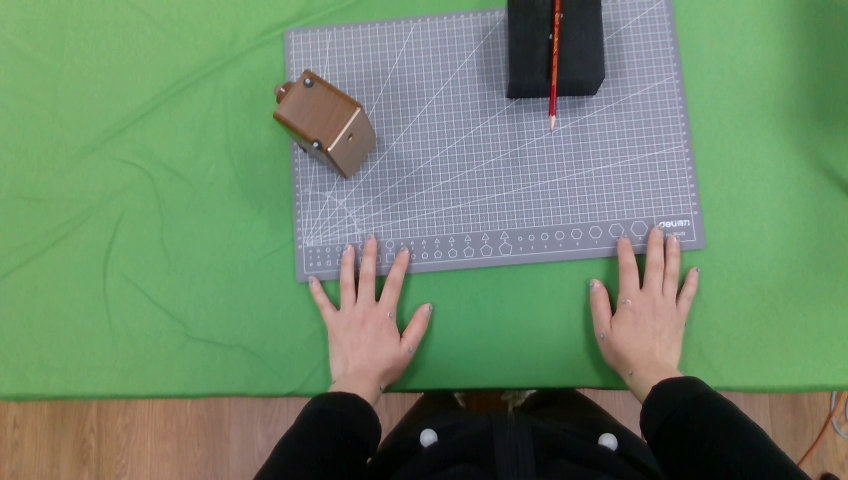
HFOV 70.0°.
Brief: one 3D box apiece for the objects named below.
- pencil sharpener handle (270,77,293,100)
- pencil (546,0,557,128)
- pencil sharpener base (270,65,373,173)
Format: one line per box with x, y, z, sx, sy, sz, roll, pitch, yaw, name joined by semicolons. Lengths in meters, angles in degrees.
-0.149;-0.158;0.637;0.030;0.068;0.036;34;94;8;pencil sharpener handle
0.135;-0.211;0.639;0.012;0.012;0.193;3;82;4;pencil
-0.107;-0.126;0.643;0.076;0.107;0.061;34;86;8;pencil sharpener base
